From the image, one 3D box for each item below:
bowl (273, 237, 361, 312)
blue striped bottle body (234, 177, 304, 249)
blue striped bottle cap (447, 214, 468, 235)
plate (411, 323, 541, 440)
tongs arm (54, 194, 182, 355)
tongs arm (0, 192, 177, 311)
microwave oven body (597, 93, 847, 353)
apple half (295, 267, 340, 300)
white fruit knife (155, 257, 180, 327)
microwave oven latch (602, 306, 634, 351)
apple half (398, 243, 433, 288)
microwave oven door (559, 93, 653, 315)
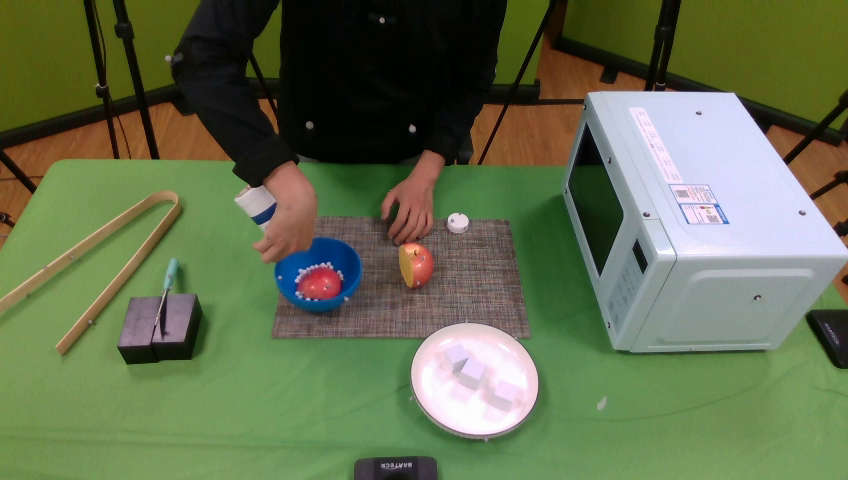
[{"bbox_3d":[-0.186,0.075,1.069,0.151,0.077,0.150,3,45,-3],"label":"bowl"},{"bbox_3d":[-0.253,-0.041,1.011,0.063,0.121,0.063,-33,22,15],"label":"blue striped bottle body"},{"bbox_3d":[0.069,-0.033,1.239,0.044,0.021,0.044,2,46,-1],"label":"blue striped bottle cap"},{"bbox_3d":[0.082,0.228,0.976,0.208,0.039,0.206,2,45,-2],"label":"plate"},{"bbox_3d":[-0.543,0.049,1.108,0.028,0.028,0.385,12,46,9],"label":"tongs arm"},{"bbox_3d":[-0.618,0.019,1.124,0.050,0.026,0.384,24,47,16],"label":"tongs arm"},{"bbox_3d":[0.475,-0.041,1.109,0.326,0.261,0.438,-1,45,-4],"label":"microwave oven body"},{"bbox_3d":[-0.187,0.070,1.067,0.081,0.033,0.081,3,47,-3],"label":"apple half"},{"bbox_3d":[-0.440,0.085,1.037,0.016,0.027,0.206,10,26,-19],"label":"white fruit knife"},{"bbox_3d":[0.332,0.153,1.044,0.030,0.029,0.078,-1,45,-4],"label":"microwave oven latch"},{"bbox_3d":[-0.011,0.046,1.115,0.053,0.075,0.080,-11,44,-19],"label":"apple half"},{"bbox_3d":[0.327,-0.074,1.123,0.039,0.245,0.353,-1,46,-5],"label":"microwave oven door"}]
